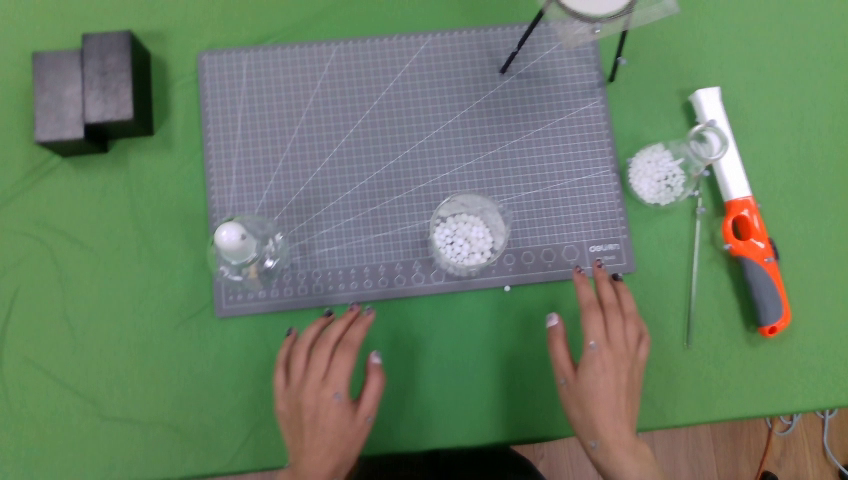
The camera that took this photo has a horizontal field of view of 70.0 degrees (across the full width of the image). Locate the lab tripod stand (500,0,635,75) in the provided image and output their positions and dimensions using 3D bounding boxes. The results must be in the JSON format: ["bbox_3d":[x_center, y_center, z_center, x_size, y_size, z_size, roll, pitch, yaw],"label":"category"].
[{"bbox_3d":[0.155,-0.237,0.628,0.148,0.131,0.148,0,83,-3],"label":"lab tripod stand"}]

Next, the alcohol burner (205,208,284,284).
[{"bbox_3d":[-0.178,0.003,0.590,0.078,0.119,0.077,1,80,-3],"label":"alcohol burner"}]

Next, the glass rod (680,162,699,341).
[{"bbox_3d":[0.290,0.010,0.661,0.008,0.008,0.199,8,81,-1],"label":"glass rod"}]

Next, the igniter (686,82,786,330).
[{"bbox_3d":[0.340,-0.040,0.661,0.057,0.025,0.275,-11,82,-14],"label":"igniter"}]

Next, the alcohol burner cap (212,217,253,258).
[{"bbox_3d":[-0.177,-0.005,0.554,0.034,0.048,0.033,2,73,-7],"label":"alcohol burner cap"}]

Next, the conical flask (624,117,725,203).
[{"bbox_3d":[0.259,-0.086,0.617,0.075,0.122,0.075,0,81,-1],"label":"conical flask"}]

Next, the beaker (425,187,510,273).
[{"bbox_3d":[0.040,-0.007,0.606,0.084,0.100,0.074,-25,83,-6],"label":"beaker"}]

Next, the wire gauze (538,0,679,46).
[{"bbox_3d":[0.159,-0.251,0.563,0.125,0.011,0.121,-22,85,-5],"label":"wire gauze"}]
